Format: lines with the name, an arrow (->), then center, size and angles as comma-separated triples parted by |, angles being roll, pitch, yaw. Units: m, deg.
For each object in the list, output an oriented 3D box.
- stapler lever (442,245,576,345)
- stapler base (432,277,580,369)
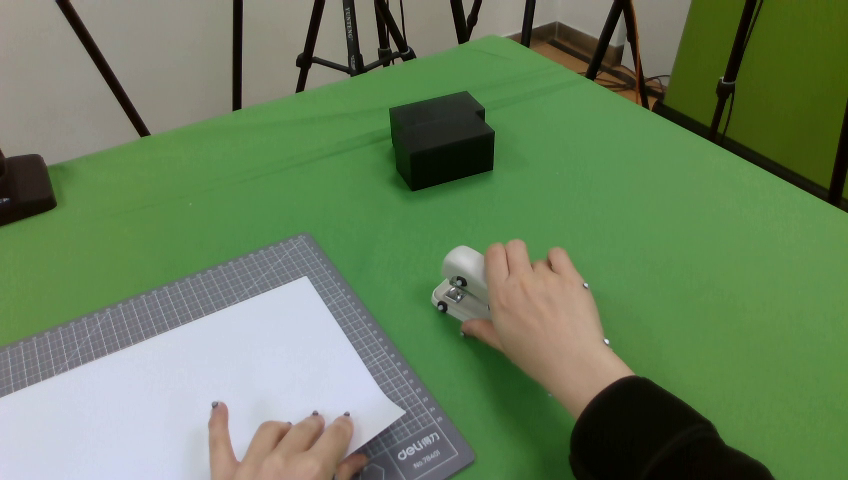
stapler lever -> 0.066, 0.041, 0.491 | 0.117, 0.040, 0.027 | 26, 50, 29
stapler base -> 0.065, 0.059, 0.507 | 0.129, 0.024, 0.041 | 27, 50, 28
